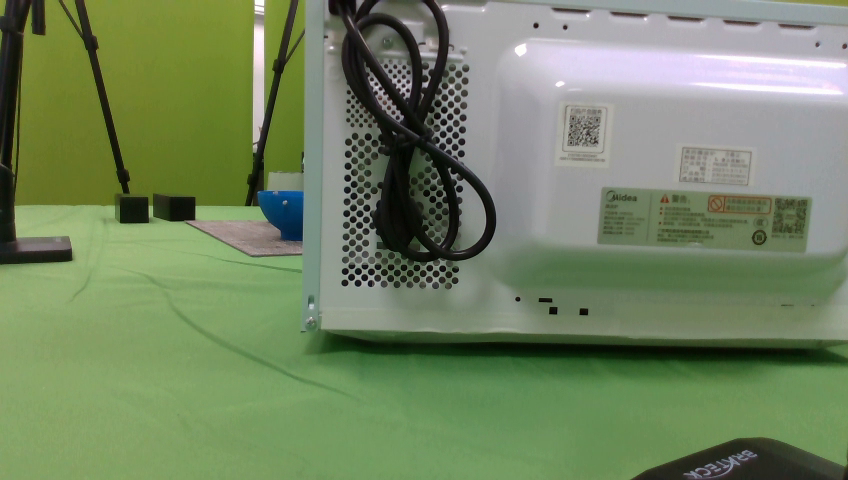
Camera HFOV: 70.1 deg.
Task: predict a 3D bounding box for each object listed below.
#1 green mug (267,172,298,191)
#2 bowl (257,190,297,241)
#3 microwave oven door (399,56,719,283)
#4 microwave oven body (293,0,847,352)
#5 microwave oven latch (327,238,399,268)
[{"bbox_3d":[-0.277,-0.090,1.276,0.092,0.105,0.126,6,8,25],"label":"green mug"},{"bbox_3d":[-0.207,-0.041,1.027,0.151,0.077,0.151,3,8,0],"label":"bowl"},{"bbox_3d":[0.155,-0.078,0.697,0.356,0.243,0.039,2,8,-5],"label":"microwave oven door"},{"bbox_3d":[0.122,-0.055,0.550,0.442,0.260,0.325,3,7,-5],"label":"microwave oven body"},{"bbox_3d":[-0.069,0.015,0.694,0.079,0.029,0.030,3,7,-3],"label":"microwave oven latch"}]
